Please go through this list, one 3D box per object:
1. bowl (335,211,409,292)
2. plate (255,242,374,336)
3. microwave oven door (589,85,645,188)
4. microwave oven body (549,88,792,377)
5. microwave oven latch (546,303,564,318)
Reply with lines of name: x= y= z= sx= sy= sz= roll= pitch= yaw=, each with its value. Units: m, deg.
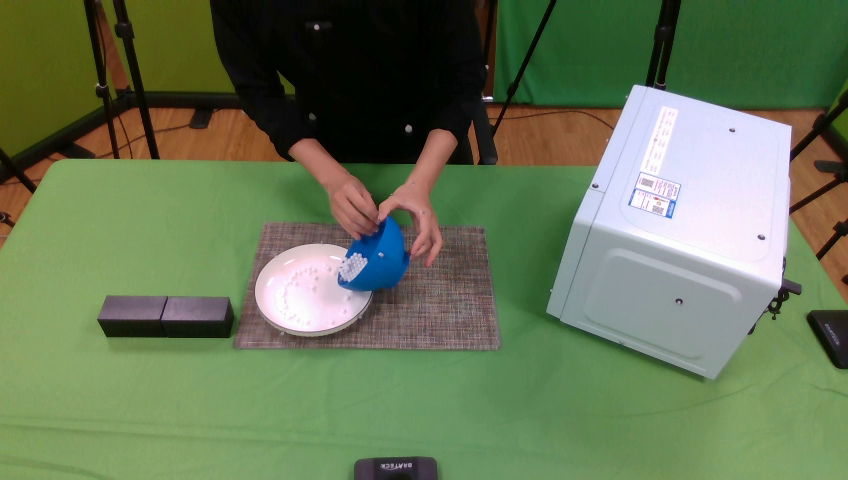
bowl: x=-0.078 y=0.034 z=1.048 sx=0.077 sy=0.151 sz=0.150 roll=33 pitch=42 yaw=-21
plate: x=-0.192 y=0.090 z=1.080 sx=0.208 sy=0.039 sz=0.206 roll=2 pitch=46 yaw=-2
microwave oven door: x=0.341 y=-0.107 z=1.148 sx=0.039 sy=0.245 sz=0.354 roll=20 pitch=48 yaw=15
microwave oven body: x=0.456 y=-0.028 z=1.088 sx=0.325 sy=0.261 sz=0.440 roll=20 pitch=47 yaw=16
microwave oven latch: x=0.242 y=0.102 z=1.081 sx=0.030 sy=0.029 sz=0.079 roll=21 pitch=48 yaw=17
